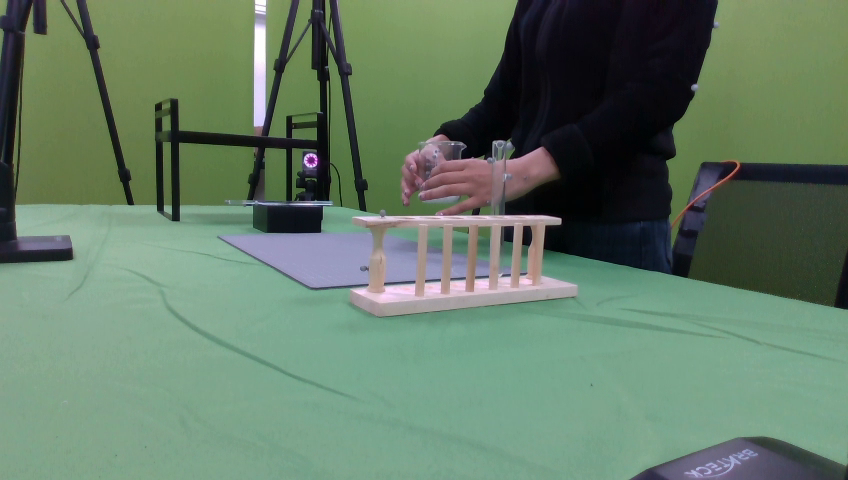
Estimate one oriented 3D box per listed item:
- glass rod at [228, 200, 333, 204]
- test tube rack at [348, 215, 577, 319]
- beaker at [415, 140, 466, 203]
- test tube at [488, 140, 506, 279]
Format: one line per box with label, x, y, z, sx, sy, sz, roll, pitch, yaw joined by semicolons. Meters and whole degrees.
glass rod;-0.268;-0.071;1.142;0.201;0.008;0.008;-1;8;-29
test tube rack;0.048;0.021;0.619;0.244;0.085;0.066;-2;9;-31
beaker;0.029;-0.113;1.002;0.084;0.100;0.074;-3;8;-2
test tube;0.079;-0.032;0.653;0.017;0.150;0.017;1;2;0
